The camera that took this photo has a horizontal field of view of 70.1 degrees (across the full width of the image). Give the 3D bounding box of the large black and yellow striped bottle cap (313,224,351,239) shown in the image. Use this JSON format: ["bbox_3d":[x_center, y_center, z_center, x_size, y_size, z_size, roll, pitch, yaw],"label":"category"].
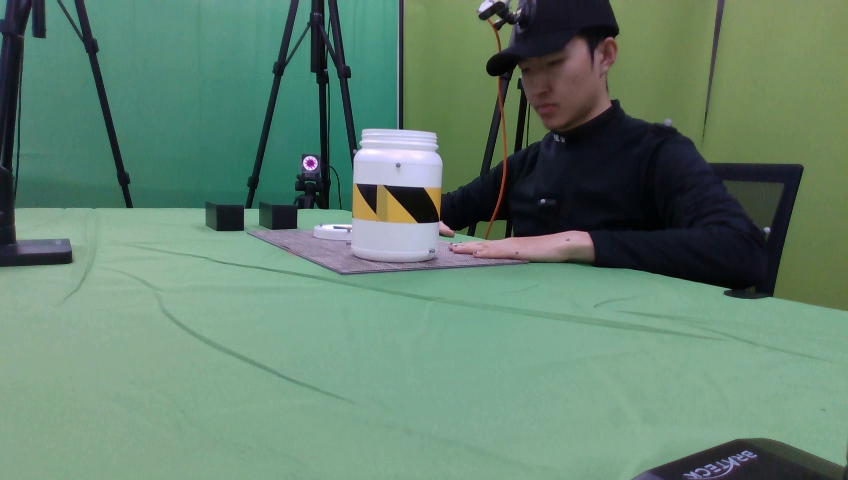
[{"bbox_3d":[-0.145,-0.016,1.108,0.115,0.019,0.115,3,6,0],"label":"large black and yellow striped bottle cap"}]

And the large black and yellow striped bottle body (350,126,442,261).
[{"bbox_3d":[-0.040,-0.069,0.881,0.131,0.184,0.130,2,7,0],"label":"large black and yellow striped bottle body"}]
